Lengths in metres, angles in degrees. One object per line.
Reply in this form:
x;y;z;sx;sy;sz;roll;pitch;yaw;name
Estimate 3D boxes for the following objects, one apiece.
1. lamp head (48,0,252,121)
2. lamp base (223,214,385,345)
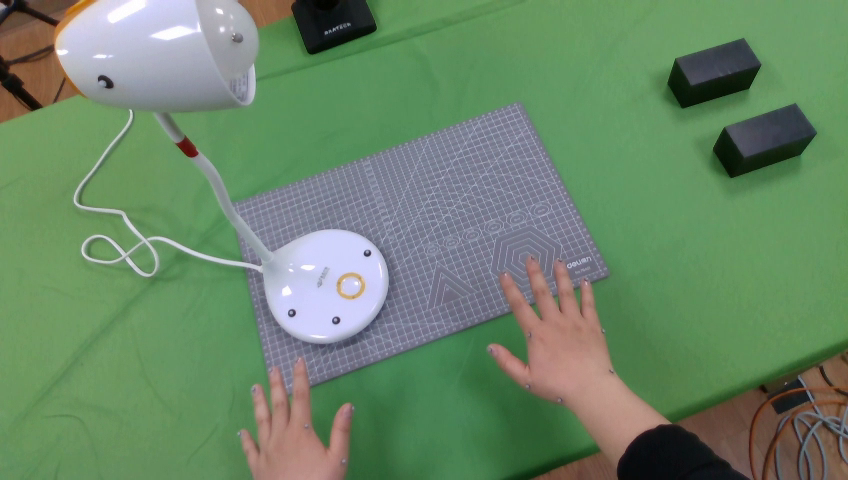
-0.200;-0.138;0.445;0.123;0.113;0.111;-15;64;7;lamp head
-0.152;0.026;0.725;0.179;0.182;0.159;3;66;13;lamp base
